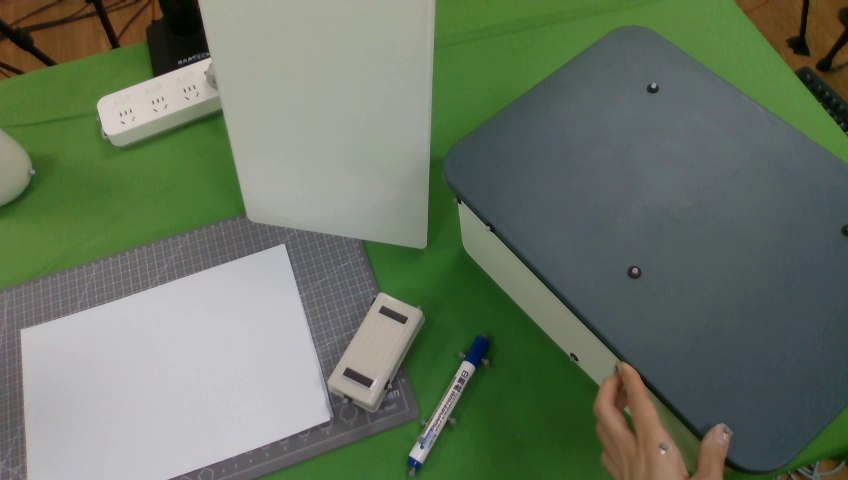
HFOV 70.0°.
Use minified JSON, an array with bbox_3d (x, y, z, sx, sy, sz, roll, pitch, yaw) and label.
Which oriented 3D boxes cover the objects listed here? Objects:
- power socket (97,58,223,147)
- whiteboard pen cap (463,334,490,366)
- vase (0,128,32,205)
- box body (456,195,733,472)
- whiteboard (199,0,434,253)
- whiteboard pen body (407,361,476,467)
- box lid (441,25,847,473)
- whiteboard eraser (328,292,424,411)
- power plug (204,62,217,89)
[{"bbox_3d":[-0.316,-0.189,0.795,0.227,0.033,0.071,-23,65,-10],"label":"power socket"},{"bbox_3d":[0.054,0.116,0.630,0.018,0.018,0.033,26,68,16],"label":"whiteboard pen cap"},{"bbox_3d":[-0.539,-0.118,0.675,0.098,0.201,0.097,-2,62,4],"label":"vase"},{"bbox_3d":[0.231,0.010,0.593,0.254,0.161,0.361,-38,67,-16],"label":"box body"},{"bbox_3d":[-0.086,-0.160,0.651,0.217,0.308,0.143,10,43,8],"label":"whiteboard"},{"bbox_3d":[0.024,0.162,0.608,0.017,0.017,0.140,27,67,16],"label":"whiteboard pen body"},{"bbox_3d":[0.216,-0.027,0.513,0.263,0.015,0.368,-37,65,-12],"label":"box lid"},{"bbox_3d":[-0.048,0.112,0.619,0.055,0.042,0.112,22,66,15],"label":"whiteboard eraser"},{"bbox_3d":[-0.258,-0.195,0.770,0.035,0.053,0.072,-14,69,-5],"label":"power plug"}]
